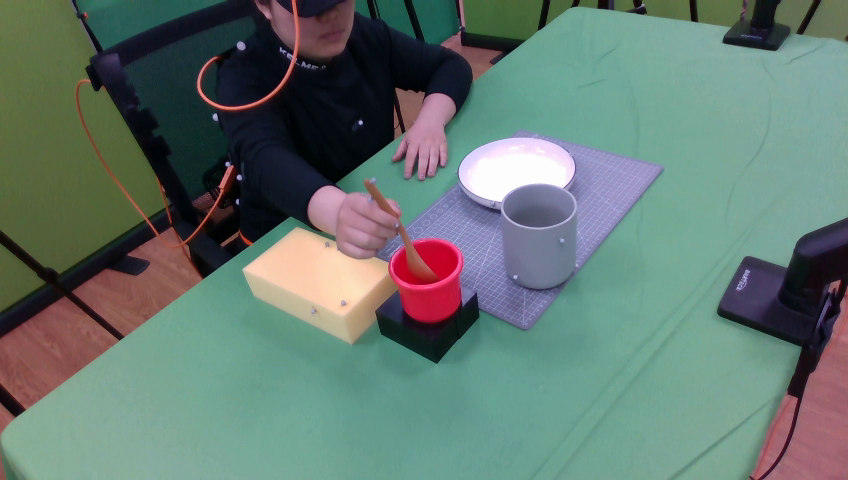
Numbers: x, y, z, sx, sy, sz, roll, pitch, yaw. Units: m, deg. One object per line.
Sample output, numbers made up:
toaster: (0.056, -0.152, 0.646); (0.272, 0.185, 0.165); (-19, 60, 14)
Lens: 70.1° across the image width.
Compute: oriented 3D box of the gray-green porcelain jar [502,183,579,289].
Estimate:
gray-green porcelain jar: (0.167, -0.001, 0.866); (0.106, 0.127, 0.105); (-5, 40, 5)

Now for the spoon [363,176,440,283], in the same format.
spoon: (-0.028, -0.007, 0.733); (0.041, 0.195, 0.021); (9, 51, 38)

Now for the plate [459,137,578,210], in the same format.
plate: (0.166, -0.113, 1.068); (0.207, 0.039, 0.206); (-5, 40, 5)

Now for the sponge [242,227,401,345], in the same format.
sponge: (-0.154, 0.063, 0.907); (0.205, 0.061, 0.118); (19, 48, 29)
